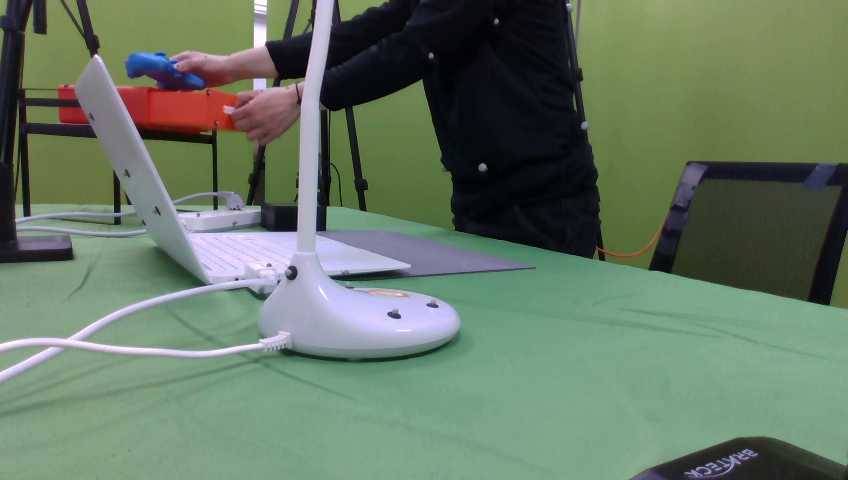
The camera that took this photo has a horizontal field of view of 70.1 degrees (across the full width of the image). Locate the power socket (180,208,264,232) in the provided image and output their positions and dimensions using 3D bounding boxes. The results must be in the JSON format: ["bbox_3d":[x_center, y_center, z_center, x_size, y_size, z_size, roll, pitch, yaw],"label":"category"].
[{"bbox_3d":[-0.381,-0.038,1.128,0.072,0.032,0.227,4,8,16],"label":"power socket"}]

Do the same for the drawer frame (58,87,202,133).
[{"bbox_3d":[-0.593,-0.269,1.261,0.213,0.082,0.202,3,8,14],"label":"drawer frame"}]

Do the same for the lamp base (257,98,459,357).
[{"bbox_3d":[-0.055,-0.014,0.463,0.160,0.180,0.180,6,11,27],"label":"lamp base"}]

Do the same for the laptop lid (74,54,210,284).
[{"bbox_3d":[-0.341,-0.079,0.704,0.013,0.242,0.355,-30,23,-26],"label":"laptop lid"}]

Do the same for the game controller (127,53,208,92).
[{"bbox_3d":[-0.508,-0.332,1.194,0.097,0.051,0.155,-9,-5,11],"label":"game controller"}]

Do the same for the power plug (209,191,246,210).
[{"bbox_3d":[-0.388,-0.071,1.204,0.072,0.052,0.035,3,6,26],"label":"power plug"}]

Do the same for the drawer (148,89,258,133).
[{"bbox_3d":[-0.478,-0.260,1.237,0.211,0.073,0.195,2,8,13],"label":"drawer"}]

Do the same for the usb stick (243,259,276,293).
[{"bbox_3d":[-0.166,0.035,0.604,0.021,0.027,0.059,-8,8,-28],"label":"usb stick"}]

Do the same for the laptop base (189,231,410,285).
[{"bbox_3d":[-0.204,0.019,0.807,0.237,0.023,0.352,0,7,-33],"label":"laptop base"}]
